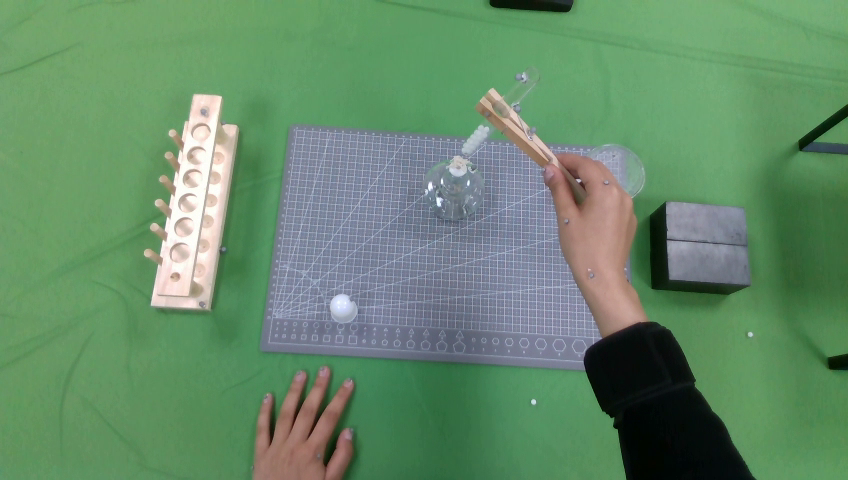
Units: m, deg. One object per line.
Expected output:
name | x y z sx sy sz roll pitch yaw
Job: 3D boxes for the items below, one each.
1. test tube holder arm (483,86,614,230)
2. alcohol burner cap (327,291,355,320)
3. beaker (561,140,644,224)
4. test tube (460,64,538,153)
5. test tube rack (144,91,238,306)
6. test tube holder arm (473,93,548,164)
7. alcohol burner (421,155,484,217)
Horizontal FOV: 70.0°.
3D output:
test tube holder arm | 0.120 -0.078 0.583 0.178 0.015 0.013 46 66 -3
alcohol burner cap | -0.099 0.075 0.714 0.034 0.048 0.033 1 74 -4
beaker | 0.212 -0.067 0.746 0.084 0.101 0.073 2 72 -2
test tube | 0.068 -0.122 0.585 0.017 0.150 0.017 7 70 -18
test tube rack | -0.280 -0.049 0.719 0.067 0.085 0.241 4 73 -2
test tube holder arm | 0.084 -0.106 0.578 0.088 0.015 0.010 39 66 -6
alcohol burner | 0.035 -0.072 0.729 0.078 0.119 0.077 0 74 -1
